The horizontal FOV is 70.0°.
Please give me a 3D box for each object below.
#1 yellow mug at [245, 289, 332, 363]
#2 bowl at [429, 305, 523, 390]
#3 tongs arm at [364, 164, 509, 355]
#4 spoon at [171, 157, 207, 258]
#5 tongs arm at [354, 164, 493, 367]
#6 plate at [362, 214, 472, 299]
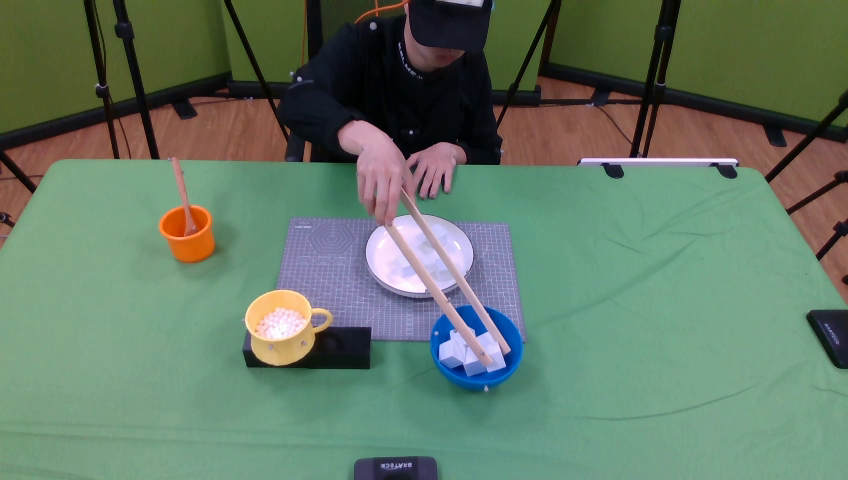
[{"bbox_3d":[-0.211,0.132,0.954,0.131,0.064,0.099,-9,48,-14],"label":"yellow mug"},{"bbox_3d":[0.080,0.188,0.985,0.151,0.077,0.150,3,46,-3],"label":"bowl"},{"bbox_3d":[0.018,0.026,0.997,0.028,0.028,0.386,-27,74,-34],"label":"tongs arm"},{"bbox_3d":[-0.444,-0.061,1.133,0.042,0.193,0.021,-12,4,-20],"label":"spoon"},{"bbox_3d":[-0.002,0.035,0.980,0.051,0.026,0.383,-29,76,-38],"label":"tongs arm"},{"bbox_3d":[-0.014,0.034,1.150,0.208,0.039,0.206,3,46,-2],"label":"plate"}]
